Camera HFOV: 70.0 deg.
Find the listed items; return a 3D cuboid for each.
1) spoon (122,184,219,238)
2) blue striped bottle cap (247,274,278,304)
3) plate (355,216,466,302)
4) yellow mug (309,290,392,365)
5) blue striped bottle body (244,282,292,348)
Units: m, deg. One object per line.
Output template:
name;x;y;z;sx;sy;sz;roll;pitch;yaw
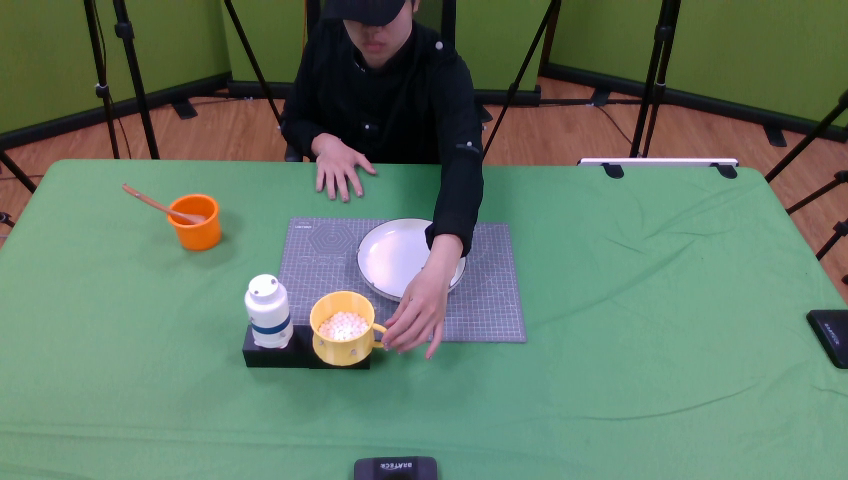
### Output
spoon;-0.463;-0.053;1.118;0.195;0.021;0.041;28;37;-35
blue striped bottle cap;-0.239;0.072;0.900;0.044;0.021;0.044;4;46;-4
plate;-0.026;0.039;1.144;0.208;0.039;0.206;2;46;-2
yellow mug;-0.114;0.141;0.954;0.131;0.064;0.099;12;47;6
blue striped bottle body;-0.241;0.108;0.937;0.063;0.121;0.062;2;46;-2
